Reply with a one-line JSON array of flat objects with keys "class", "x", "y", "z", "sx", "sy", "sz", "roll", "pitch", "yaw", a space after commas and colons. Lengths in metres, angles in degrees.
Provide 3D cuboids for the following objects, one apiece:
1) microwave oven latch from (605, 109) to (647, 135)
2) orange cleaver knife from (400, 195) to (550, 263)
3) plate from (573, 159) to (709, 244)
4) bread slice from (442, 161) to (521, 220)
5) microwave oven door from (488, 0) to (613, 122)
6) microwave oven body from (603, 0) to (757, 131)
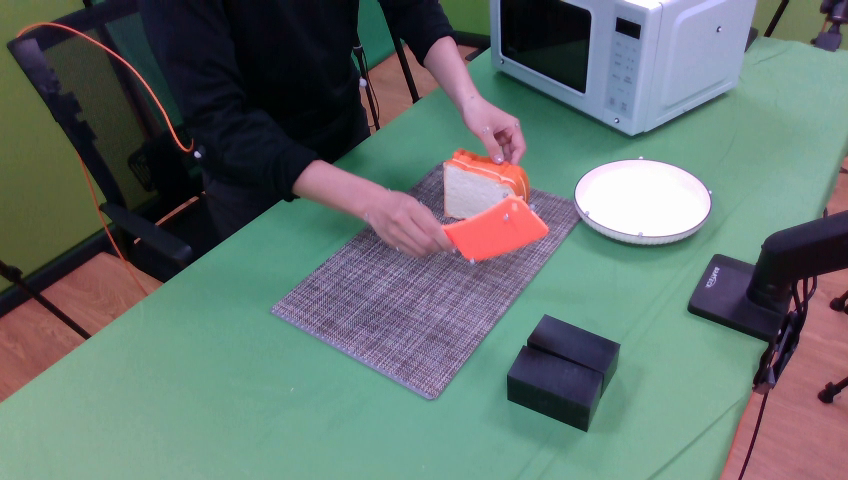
[{"class": "microwave oven latch", "x": 0.379, "y": -0.225, "z": 1.139, "sx": 0.030, "sy": 0.029, "sz": 0.078, "roll": -26, "pitch": 43, "yaw": -20}, {"class": "orange cleaver knife", "x": 0.061, "y": -0.003, "z": 0.794, "sx": 0.210, "sy": 0.077, "sz": 0.012, "roll": -17, "pitch": 27, "yaw": 35}, {"class": "plate", "x": 0.347, "y": -0.059, "z": 0.978, "sx": 0.207, "sy": 0.039, "sz": 0.206, "roll": -4, "pitch": 41, "yaw": 4}, {"class": "bread slice", "x": 0.091, "y": -0.068, "z": 0.966, "sx": 0.133, "sy": 0.107, "sz": 0.018, "roll": 15, "pitch": 45, "yaw": 25}, {"class": "microwave oven door", "x": 0.250, "y": -0.412, "z": 1.219, "sx": 0.039, "sy": 0.245, "sz": 0.352, "roll": -27, "pitch": 44, "yaw": -21}, {"class": "microwave oven body", "x": 0.396, "y": -0.448, "z": 1.248, "sx": 0.327, "sy": 0.261, "sz": 0.437, "roll": -27, "pitch": 44, "yaw": -21}]
